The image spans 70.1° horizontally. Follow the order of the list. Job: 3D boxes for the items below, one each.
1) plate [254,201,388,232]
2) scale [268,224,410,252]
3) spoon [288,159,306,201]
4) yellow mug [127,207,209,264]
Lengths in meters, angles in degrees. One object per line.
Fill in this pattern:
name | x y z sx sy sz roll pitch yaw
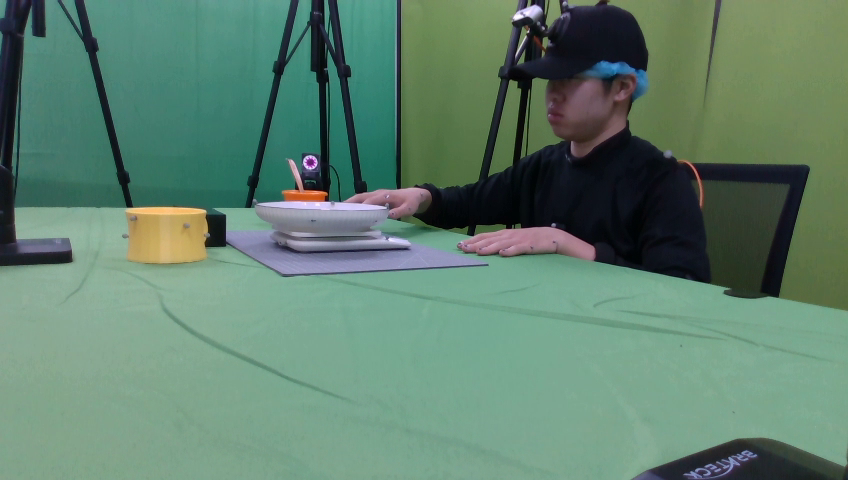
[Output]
plate | -0.161 -0.038 0.961 0.209 0.038 0.209 2 6 0
scale | -0.137 -0.006 0.980 0.202 0.031 0.148 -1 9 -30
spoon | -0.260 -0.103 1.268 0.042 0.193 0.021 3 -39 -33
yellow mug | -0.339 -0.010 0.827 0.100 0.064 0.131 5 7 17
